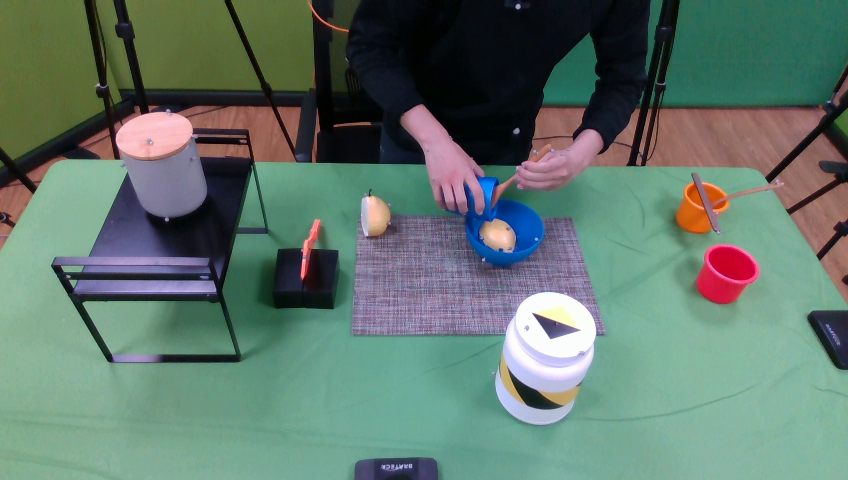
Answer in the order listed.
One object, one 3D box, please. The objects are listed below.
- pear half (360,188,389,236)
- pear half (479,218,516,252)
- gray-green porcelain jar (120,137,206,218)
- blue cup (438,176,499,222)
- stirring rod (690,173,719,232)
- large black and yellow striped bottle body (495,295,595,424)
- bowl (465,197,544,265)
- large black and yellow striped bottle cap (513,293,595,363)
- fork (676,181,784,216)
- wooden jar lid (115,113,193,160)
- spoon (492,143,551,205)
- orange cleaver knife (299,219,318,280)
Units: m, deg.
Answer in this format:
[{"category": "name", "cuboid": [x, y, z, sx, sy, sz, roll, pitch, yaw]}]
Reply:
[{"category": "pear half", "cuboid": [-0.096, -0.060, 1.181, 0.056, 0.110, 0.076, -13, 52, -17]}, {"category": "pear half", "cuboid": [0.145, -0.014, 1.167, 0.070, 0.031, 0.087, -22, 57, -18]}, {"category": "gray-green porcelain jar", "cuboid": [-0.403, -0.106, 0.946, 0.106, 0.127, 0.105, 3, 46, -2]}, {"category": "blue cup", "cuboid": [0.081, -0.081, 1.123, 0.100, 0.093, 0.092, 8, 46, 14]}, {"category": "stirring rod", "cuboid": [0.566, -0.080, 1.225, 0.014, 0.006, 0.175, 2, 46, 2]}, {"category": "large black and yellow striped bottle body", "cuboid": [0.183, 0.182, 0.923, 0.131, 0.185, 0.130, 2, 46, -2]}, {"category": "bowl", "cuboid": [0.149, -0.004, 1.167, 0.151, 0.077, 0.150, 2, 46, -2]}, {"category": "large black and yellow striped bottle cap", "cuboid": [0.186, 0.123, 0.863, 0.115, 0.019, 0.114, 3, 45, -3]}, {"category": "fork", "cuboid": [0.618, -0.084, 1.235, 0.207, 0.019, 0.028, -23, 21, 38]}, {"category": "wooden jar lid", "cuboid": [-0.399, -0.151, 0.900, 0.108, 0.021, 0.107, 3, 46, -3]}, {"category": "spoon", "cuboid": [0.155, -0.112, 1.074, 0.022, 0.194, 0.041, 0, 58, -47]}, {"category": "orange cleaver knife", "cuboid": [-0.214, 0.013, 1.125, 0.012, 0.077, 0.210, 5, 17, -5]}]
